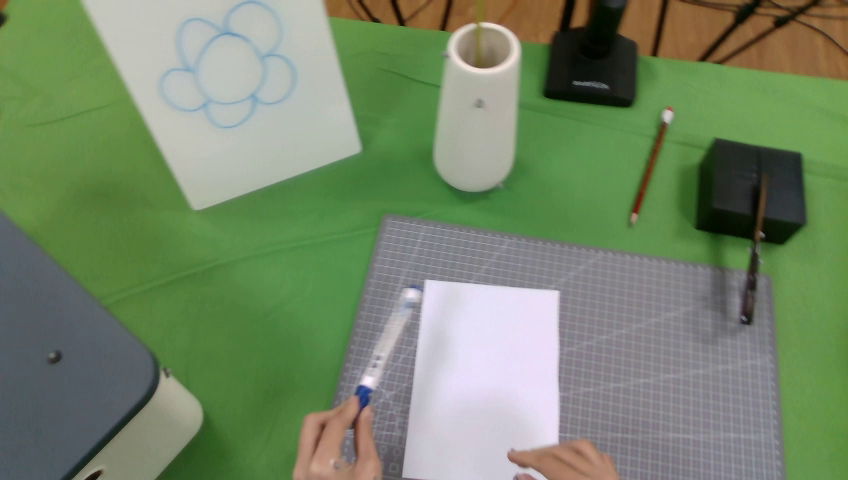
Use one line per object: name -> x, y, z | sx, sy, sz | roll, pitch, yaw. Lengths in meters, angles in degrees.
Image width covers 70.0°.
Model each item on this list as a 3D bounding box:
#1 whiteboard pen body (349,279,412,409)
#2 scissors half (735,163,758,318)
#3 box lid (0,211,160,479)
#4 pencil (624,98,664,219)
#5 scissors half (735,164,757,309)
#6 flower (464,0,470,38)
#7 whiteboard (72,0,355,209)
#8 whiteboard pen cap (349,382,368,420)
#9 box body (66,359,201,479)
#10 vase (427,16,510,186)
whiteboard pen body -> -0.042, 0.097, 0.580 | 0.017, 0.017, 0.140 | 18, 59, 10
scissors half -> 0.356, -0.001, 0.662 | 0.012, 0.040, 0.174 | 6, 81, 31
box lid -> -0.424, 0.092, 0.487 | 0.369, 0.015, 0.262 | 34, 67, 17
pencil -> 0.274, -0.105, 0.755 | 0.012, 0.012, 0.193 | 20, 65, 11
scissors half -> 0.347, -0.008, 0.645 | 0.013, 0.040, 0.174 | 7, 63, 26
flower -> 0.044, -0.199, 0.606 | 0.044, 0.365, 0.038 | 3, 45, 6
whiteboard -> -0.234, -0.227, 0.691 | 0.217, 0.308, 0.142 | -22, 45, -10
whiteboard pen cap -> -0.060, 0.146, 0.554 | 0.018, 0.018, 0.033 | 2, 89, 2
box body -> -0.422, 0.128, 0.553 | 0.362, 0.161, 0.253 | 34, 68, 17
vase -> 0.050, -0.147, 0.673 | 0.098, 0.201, 0.097 | -1, 61, 2
